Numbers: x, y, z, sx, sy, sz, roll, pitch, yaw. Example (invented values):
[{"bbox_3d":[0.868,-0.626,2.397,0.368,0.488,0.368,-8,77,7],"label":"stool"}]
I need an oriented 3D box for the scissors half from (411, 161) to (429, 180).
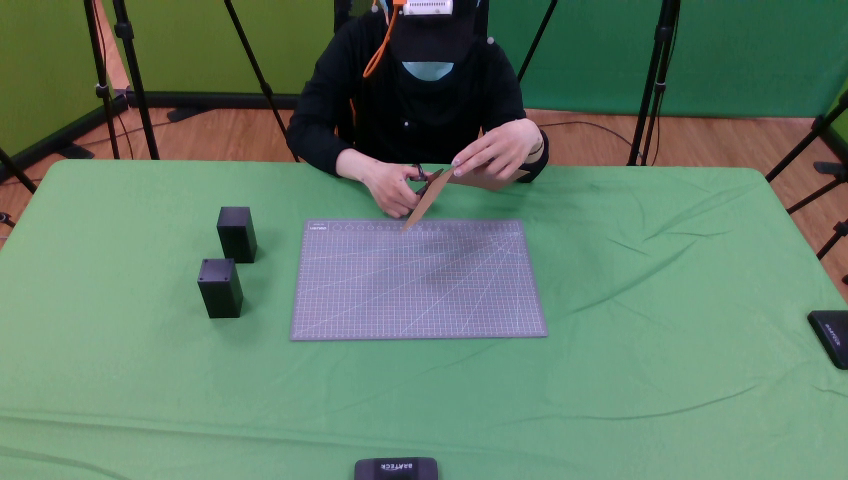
[{"bbox_3d":[0.006,-0.128,1.183,0.013,0.040,0.174,-7,16,-19],"label":"scissors half"}]

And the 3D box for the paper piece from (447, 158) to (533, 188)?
[{"bbox_3d":[0.109,-0.122,1.119,0.138,0.136,0.008,7,81,-20],"label":"paper piece"}]

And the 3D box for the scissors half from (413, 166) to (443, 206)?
[{"bbox_3d":[0.008,-0.104,1.182,0.013,0.175,0.040,-2,69,-19],"label":"scissors half"}]

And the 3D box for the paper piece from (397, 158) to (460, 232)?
[{"bbox_3d":[0.005,-0.078,1.069,0.004,0.135,0.135,38,70,-10],"label":"paper piece"}]
